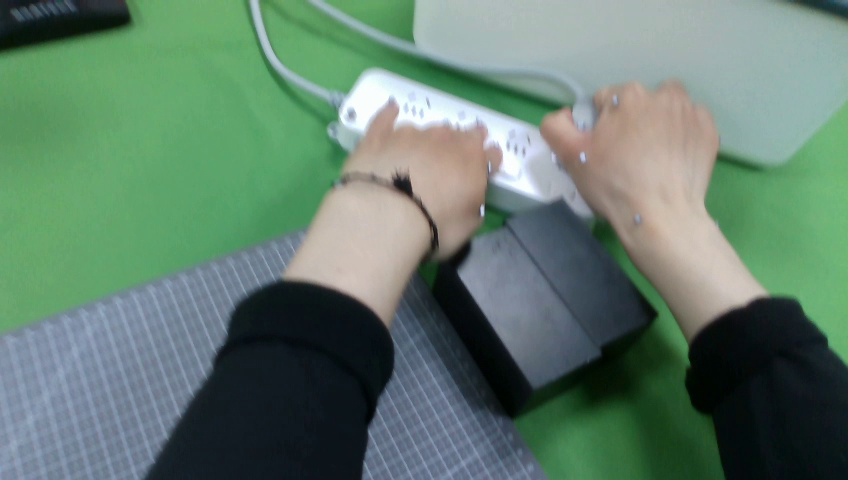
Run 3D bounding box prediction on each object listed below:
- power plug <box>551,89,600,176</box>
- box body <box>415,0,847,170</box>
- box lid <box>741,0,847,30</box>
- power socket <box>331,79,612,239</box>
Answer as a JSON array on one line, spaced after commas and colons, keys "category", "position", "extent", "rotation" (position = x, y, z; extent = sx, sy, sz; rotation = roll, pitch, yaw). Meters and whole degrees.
[{"category": "power plug", "position": [0.124, -0.075, 0.470], "extent": [0.035, 0.053, 0.072], "rotation": [29, 52, 15]}, {"category": "box body", "position": [0.192, -0.236, 0.545], "extent": [0.364, 0.161, 0.252], "rotation": [18, 53, 3]}, {"category": "box lid", "position": [0.204, -0.278, 0.486], "extent": [0.371, 0.015, 0.261], "rotation": [18, 54, 3]}, {"category": "power socket", "position": [0.040, -0.066, 0.476], "extent": [0.226, 0.033, 0.072], "rotation": [21, 53, 6]}]
